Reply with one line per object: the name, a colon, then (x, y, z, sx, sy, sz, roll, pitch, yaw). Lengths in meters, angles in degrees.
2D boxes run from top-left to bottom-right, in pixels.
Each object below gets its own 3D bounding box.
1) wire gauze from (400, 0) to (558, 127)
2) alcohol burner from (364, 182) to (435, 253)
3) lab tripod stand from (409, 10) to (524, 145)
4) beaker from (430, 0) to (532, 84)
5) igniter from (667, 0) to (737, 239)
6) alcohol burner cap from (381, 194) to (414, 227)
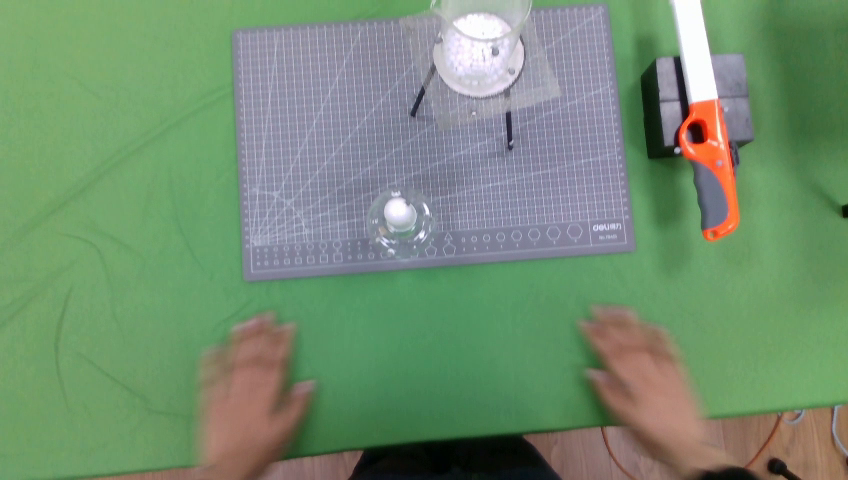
wire gauze: (0.053, -0.179, 0.584, 0.125, 0.011, 0.121, -17, 84, -5)
alcohol burner: (-0.027, -0.026, 0.642, 0.078, 0.119, 0.077, 0, 84, -1)
lab tripod stand: (0.053, -0.177, 0.650, 0.148, 0.132, 0.148, 0, 82, 1)
beaker: (0.047, -0.188, 0.537, 0.084, 0.100, 0.073, -6, 82, -1)
igniter: (0.300, -0.139, 0.658, 0.057, 0.025, 0.275, -7, 83, 10)
alcohol burner cap: (-0.028, -0.031, 0.606, 0.034, 0.048, 0.034, 0, 84, 1)
